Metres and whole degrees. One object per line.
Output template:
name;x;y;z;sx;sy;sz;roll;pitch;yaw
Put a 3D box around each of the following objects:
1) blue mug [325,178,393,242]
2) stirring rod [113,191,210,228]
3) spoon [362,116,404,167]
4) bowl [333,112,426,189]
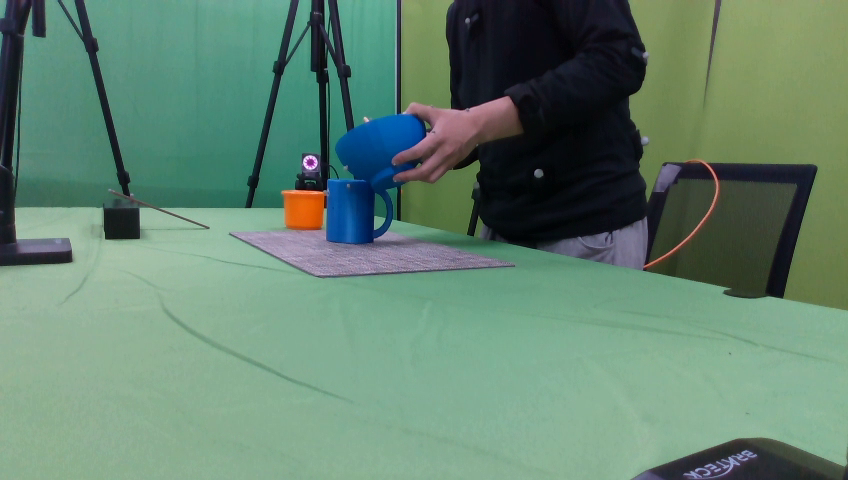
blue mug;-0.111;-0.052;1.034;0.116;0.106;0.082;3;7;7
stirring rod;-0.484;-0.055;1.121;0.177;0.006;0.014;22;-6;-22
spoon;-0.074;-0.176;1.032;0.022;0.042;0.193;-27;40;-13
bowl;-0.060;-0.131;0.953;0.151;0.076;0.151;-18;-11;-3
